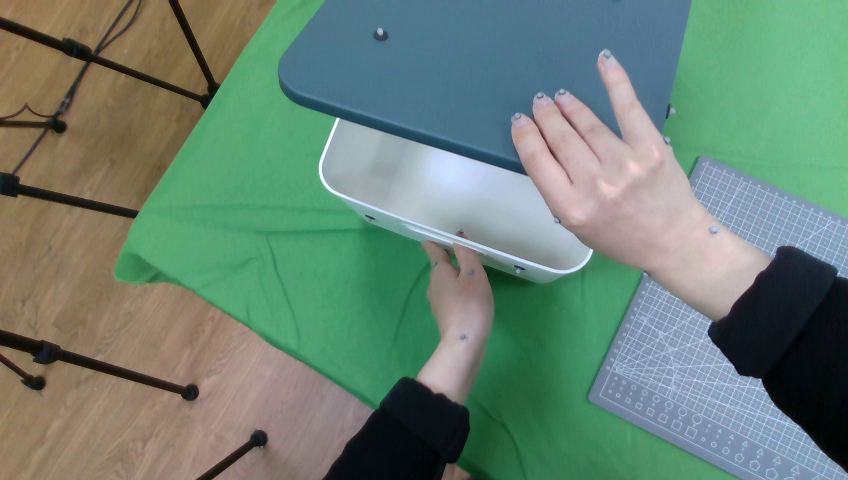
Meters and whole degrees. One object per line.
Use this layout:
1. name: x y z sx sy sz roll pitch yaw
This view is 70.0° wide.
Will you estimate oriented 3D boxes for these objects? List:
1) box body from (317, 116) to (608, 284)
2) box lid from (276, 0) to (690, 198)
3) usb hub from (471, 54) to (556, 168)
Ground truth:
1. box body: 0.083 -0.158 0.625 0.253 0.161 0.363 20 82 7
2. box lid: 0.075 -0.199 0.483 0.262 0.015 0.369 19 58 9
3. usb hub: 0.101 -0.146 0.683 0.049 0.025 0.125 25 81 11
